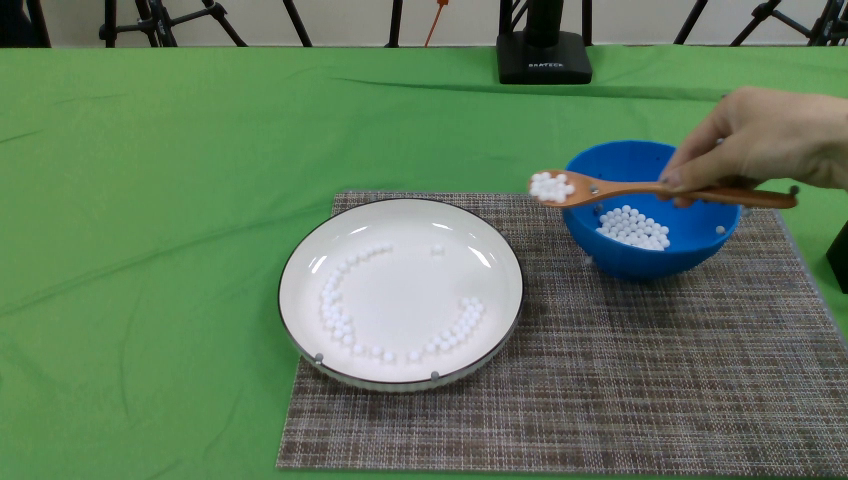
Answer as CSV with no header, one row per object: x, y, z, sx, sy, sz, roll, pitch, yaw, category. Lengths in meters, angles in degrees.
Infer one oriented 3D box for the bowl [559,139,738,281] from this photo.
0.192,-0.016,0.550,0.151,0.077,0.150,-1,46,1,bowl

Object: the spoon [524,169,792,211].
0.163,-0.035,0.452,0.192,0.022,0.041,7,52,39,spoon

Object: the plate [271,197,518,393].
-0.024,0.045,0.524,0.208,0.039,0.205,0,46,1,plate
